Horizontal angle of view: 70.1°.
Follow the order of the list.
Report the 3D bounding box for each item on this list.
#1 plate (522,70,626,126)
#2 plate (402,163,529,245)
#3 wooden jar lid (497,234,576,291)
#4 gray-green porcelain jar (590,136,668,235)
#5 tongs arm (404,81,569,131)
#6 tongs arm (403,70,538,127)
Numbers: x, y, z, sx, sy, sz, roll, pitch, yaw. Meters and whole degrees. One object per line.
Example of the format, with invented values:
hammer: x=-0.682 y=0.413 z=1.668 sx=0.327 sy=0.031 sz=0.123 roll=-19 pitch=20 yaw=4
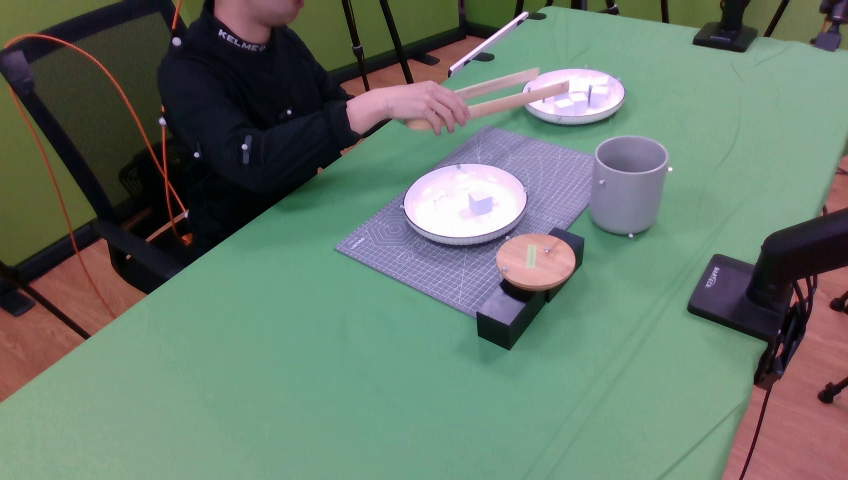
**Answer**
plate: x=0.308 y=-0.290 z=1.251 sx=0.207 sy=0.039 sz=0.206 roll=-4 pitch=40 yaw=4
plate: x=0.069 y=-0.056 z=1.008 sx=0.209 sy=0.038 sz=0.208 roll=-4 pitch=40 yaw=4
wooden jar lid: x=0.155 y=0.032 z=0.834 sx=0.108 sy=0.021 sz=0.108 roll=-5 pitch=40 yaw=5
gray-green porcelain jar: x=0.314 y=-0.080 z=0.937 sx=0.106 sy=0.127 sz=0.105 roll=-4 pitch=41 yaw=4
tongs arm: x=0.131 y=-0.262 z=1.155 sx=0.387 sy=0.026 sz=0.050 roll=-23 pitch=43 yaw=-32
tongs arm: x=0.101 y=-0.285 z=1.187 sx=0.390 sy=0.028 sz=0.028 roll=-25 pitch=48 yaw=-35
